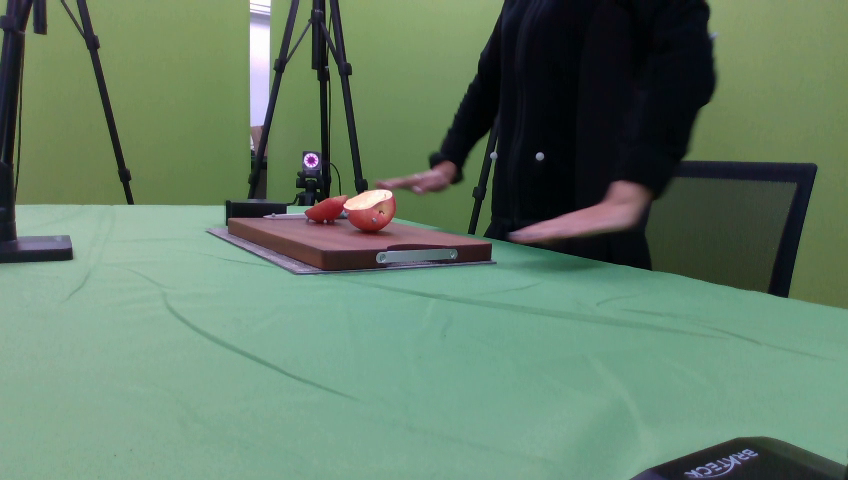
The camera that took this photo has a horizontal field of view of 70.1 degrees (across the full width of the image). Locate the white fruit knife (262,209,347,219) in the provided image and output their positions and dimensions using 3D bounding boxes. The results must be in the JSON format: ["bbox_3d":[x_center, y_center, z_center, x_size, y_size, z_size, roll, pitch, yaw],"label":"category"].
[{"bbox_3d":[-0.198,-0.047,1.113,0.208,0.016,0.027,-5,-19,-35],"label":"white fruit knife"}]

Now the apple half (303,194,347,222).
[{"bbox_3d":[-0.166,-0.051,1.051,0.081,0.033,0.081,-21,-3,-1],"label":"apple half"}]

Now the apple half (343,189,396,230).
[{"bbox_3d":[-0.084,-0.044,0.954,0.081,0.053,0.074,-32,30,-34],"label":"apple half"}]
